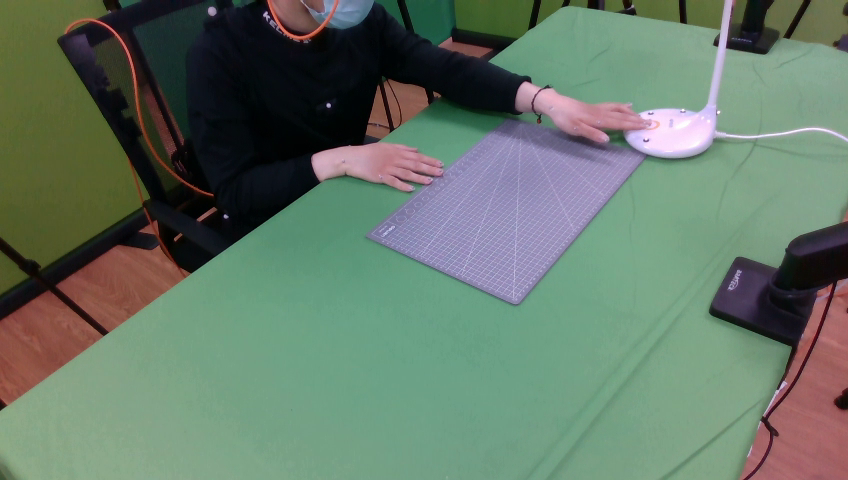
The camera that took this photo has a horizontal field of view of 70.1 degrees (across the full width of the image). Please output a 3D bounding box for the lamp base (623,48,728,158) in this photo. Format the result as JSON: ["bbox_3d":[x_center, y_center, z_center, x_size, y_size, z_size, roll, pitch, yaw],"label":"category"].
[{"bbox_3d":[0.462,-0.261,1.084,0.179,0.181,0.160,3,42,7],"label":"lamp base"}]
